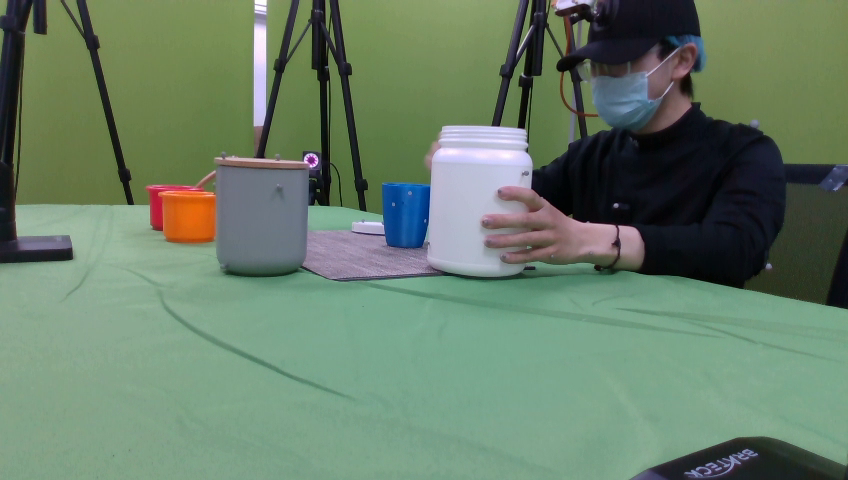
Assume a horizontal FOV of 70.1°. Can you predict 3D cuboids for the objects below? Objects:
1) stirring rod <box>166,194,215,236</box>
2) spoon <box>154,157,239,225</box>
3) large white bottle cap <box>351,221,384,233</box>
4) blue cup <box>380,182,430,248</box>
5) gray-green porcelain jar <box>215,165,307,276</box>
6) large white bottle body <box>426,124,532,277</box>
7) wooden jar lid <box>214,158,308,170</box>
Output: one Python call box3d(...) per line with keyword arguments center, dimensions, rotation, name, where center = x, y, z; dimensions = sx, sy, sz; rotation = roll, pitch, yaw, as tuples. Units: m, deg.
box3d(center=(-0.341, -0.066, 0.967), dimensions=(0.176, 0.006, 0.014), rotation=(-42, 23, -9), name="stirring rod")
box3d(center=(-0.411, -0.092, 1.105), dimensions=(0.041, 0.022, 0.194), rotation=(13, 56, 51), name="spoon")
box3d(center=(-0.082, -0.025, 1.162), dimensions=(0.115, 0.018, 0.115), rotation=(4, 4, 0), name="large white bottle cap")
box3d(center=(-0.029, -0.041, 0.980), dimensions=(0.093, 0.100, 0.092), rotation=(2, 9, 0), name="blue cup")
box3d(center=(-0.195, -0.024, 0.726), dimensions=(0.106, 0.126, 0.106), rotation=(3, 7, 0), name="gray-green porcelain jar")
box3d(center=(0.071, -0.054, 0.781), dimensions=(0.131, 0.184, 0.130), rotation=(2, 8, 0), name="large white bottle body")
box3d(center=(-0.193, -0.085, 0.719), dimensions=(0.108, 0.020, 0.108), rotation=(2, 9, 0), name="wooden jar lid")
